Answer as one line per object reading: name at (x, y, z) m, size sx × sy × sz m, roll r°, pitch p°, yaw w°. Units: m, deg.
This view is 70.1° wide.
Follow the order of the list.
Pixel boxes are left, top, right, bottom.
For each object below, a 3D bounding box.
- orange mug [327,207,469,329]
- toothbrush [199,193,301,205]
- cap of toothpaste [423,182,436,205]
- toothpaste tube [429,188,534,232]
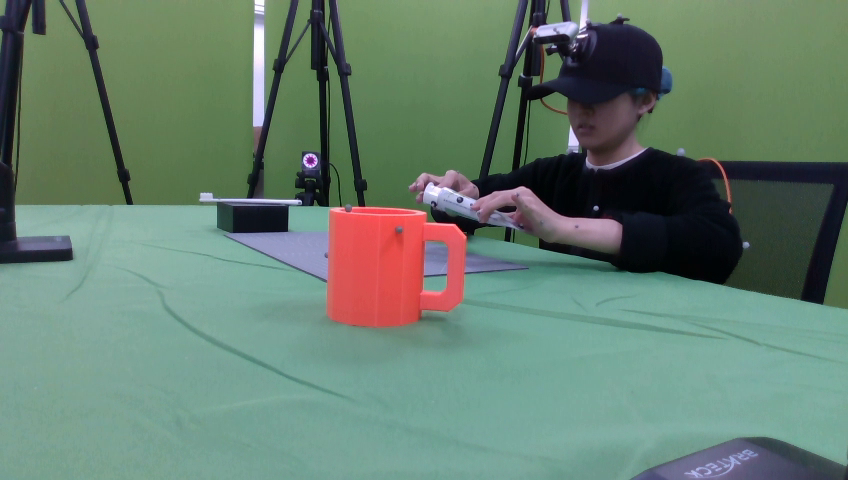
orange mug at (-0.024, 0.021, 0.535) m, size 0.126 × 0.100 × 0.083 m, roll -1°, pitch 6°, yaw 8°
toothbrush at (-0.323, -0.076, 1.129) m, size 0.182 × 0.016 × 0.014 m, roll 2°, pitch 4°, yaw -15°
cap of toothpaste at (0.009, -0.069, 0.915) m, size 0.011 × 0.037 × 0.037 m, roll 14°, pitch 10°, yaw 12°
toothpaste tube at (0.079, -0.041, 0.884) m, size 0.164 × 0.034 × 0.055 m, roll 21°, pitch 15°, yaw 22°
